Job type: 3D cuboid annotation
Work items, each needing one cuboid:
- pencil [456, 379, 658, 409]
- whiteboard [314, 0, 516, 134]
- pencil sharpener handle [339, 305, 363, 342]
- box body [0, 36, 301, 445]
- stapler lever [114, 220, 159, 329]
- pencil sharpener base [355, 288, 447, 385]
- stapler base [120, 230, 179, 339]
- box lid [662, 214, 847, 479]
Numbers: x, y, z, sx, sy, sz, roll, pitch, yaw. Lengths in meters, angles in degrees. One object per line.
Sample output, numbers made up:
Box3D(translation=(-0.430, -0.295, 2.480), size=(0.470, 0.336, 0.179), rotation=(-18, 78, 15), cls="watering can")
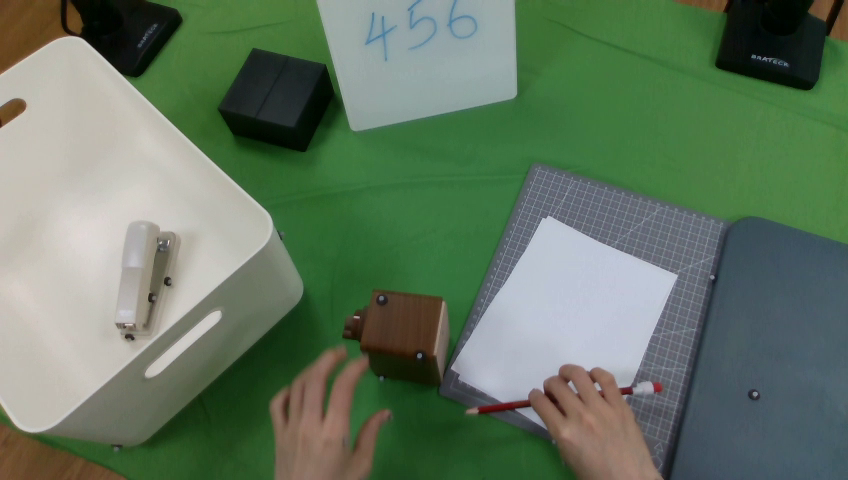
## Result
Box3D(translation=(0.126, 0.148, 0.576), size=(0.194, 0.012, 0.012), rotation=(-6, 63, -1), cls="pencil")
Box3D(translation=(-0.019, -0.310, 0.706), size=(0.217, 0.308, 0.142), rotation=(-12, 44, -1), cls="whiteboard")
Box3D(translation=(-0.072, 0.083, 0.582), size=(0.030, 0.068, 0.036), rotation=(7, 68, 8), cls="pencil sharpener handle")
Box3D(translation=(-0.334, -0.001, 0.623), size=(0.361, 0.161, 0.254), rotation=(40, 73, 20), cls="box body")
Box3D(translation=(-0.308, 0.035, 0.646), size=(0.027, 0.040, 0.117), rotation=(0, 67, 6), cls="stapler lever")
Box3D(translation=(-0.021, 0.095, 0.587), size=(0.076, 0.108, 0.061), rotation=(7, 65, 8), cls="pencil sharpener base")
Box3D(translation=(-0.306, 0.044, 0.670), size=(0.041, 0.024, 0.129), rotation=(0, 66, 6), cls="stapler base")
Box3D(translation=(0.390, 0.158, 0.583), size=(0.262, 0.015, 0.369), rotation=(19, 67, 11), cls="box lid")
